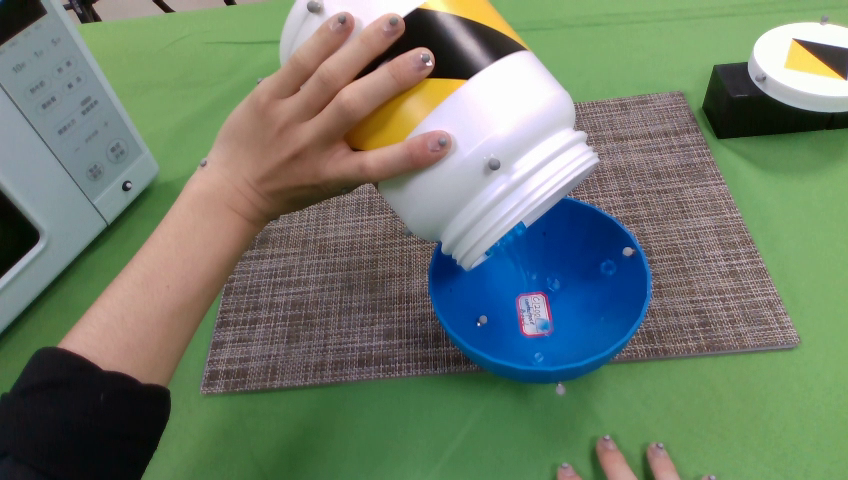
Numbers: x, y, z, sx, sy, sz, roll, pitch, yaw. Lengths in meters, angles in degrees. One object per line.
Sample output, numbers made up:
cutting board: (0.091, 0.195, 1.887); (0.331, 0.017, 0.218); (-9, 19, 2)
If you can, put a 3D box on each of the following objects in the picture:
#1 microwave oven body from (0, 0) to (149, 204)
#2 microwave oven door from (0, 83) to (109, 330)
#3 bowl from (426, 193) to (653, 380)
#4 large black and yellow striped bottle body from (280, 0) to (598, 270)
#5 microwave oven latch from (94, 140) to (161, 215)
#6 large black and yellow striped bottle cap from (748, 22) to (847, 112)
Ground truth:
microwave oven body: (-0.513, -0.037, 0.469); (0.324, 0.263, 0.439); (18, 56, 20)
microwave oven door: (-0.401, 0.030, 0.393); (0.039, 0.246, 0.354); (17, 55, 21)
bowl: (0.080, 0.044, 0.440); (0.151, 0.077, 0.150); (-4, 50, 5)
large black and yellow striped bottle body: (0.011, -0.084, 0.390); (0.131, 0.131, 0.183); (-36, 82, -20)
microwave oven latch: (-0.292, -0.063, 0.587); (0.030, 0.030, 0.079); (19, 57, 21)
large black and yellow striped bottle cap: (0.358, -0.159, 0.548); (0.115, 0.019, 0.114); (-5, 50, 6)
